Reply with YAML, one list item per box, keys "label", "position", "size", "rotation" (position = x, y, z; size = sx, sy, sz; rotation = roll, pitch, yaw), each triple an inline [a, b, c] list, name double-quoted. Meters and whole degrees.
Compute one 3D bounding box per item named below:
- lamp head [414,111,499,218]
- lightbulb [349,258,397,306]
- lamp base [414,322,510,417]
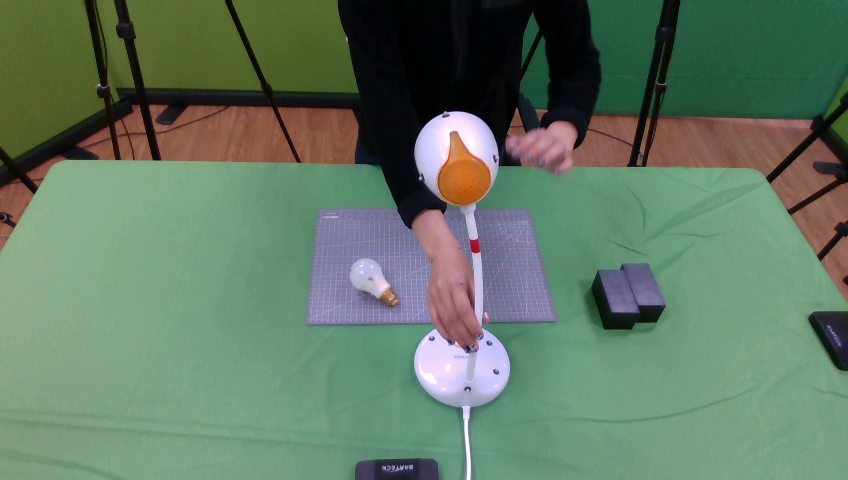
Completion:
- label: "lamp head"
  position: [0.045, -0.089, 0.758]
  size: [0.112, 0.113, 0.122]
  rotation: [-1, 32, -4]
- label: "lightbulb"
  position: [-0.090, 0.078, 1.095]
  size: [0.107, 0.060, 0.059]
  rotation: [43, 56, 12]
- label: "lamp base"
  position: [0.069, 0.160, 0.941]
  size: [0.161, 0.181, 0.178]
  rotation: [-4, 49, -8]
